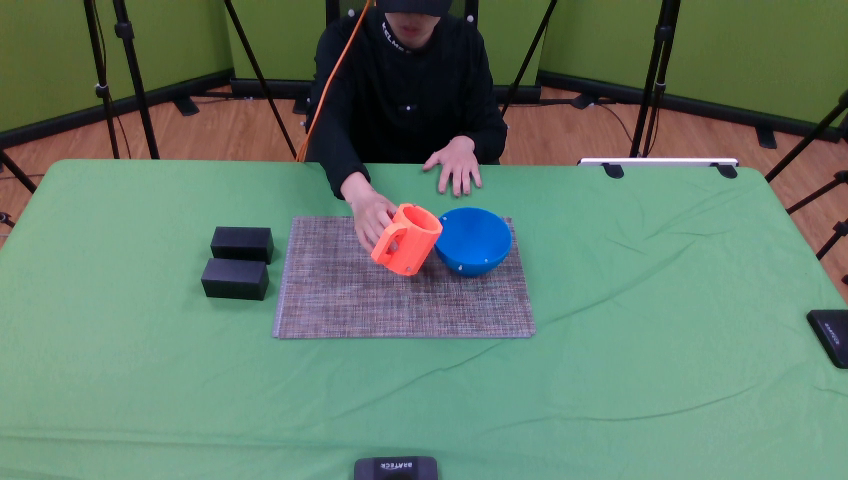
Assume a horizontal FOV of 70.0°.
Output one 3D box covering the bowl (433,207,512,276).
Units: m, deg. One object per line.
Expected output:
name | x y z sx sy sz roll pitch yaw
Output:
bowl | 0.086 0.016 1.147 0.151 0.077 0.150 2 46 -2

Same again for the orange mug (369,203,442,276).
orange mug | -0.038 0.000 1.039 0.083 0.101 0.126 42 23 21
